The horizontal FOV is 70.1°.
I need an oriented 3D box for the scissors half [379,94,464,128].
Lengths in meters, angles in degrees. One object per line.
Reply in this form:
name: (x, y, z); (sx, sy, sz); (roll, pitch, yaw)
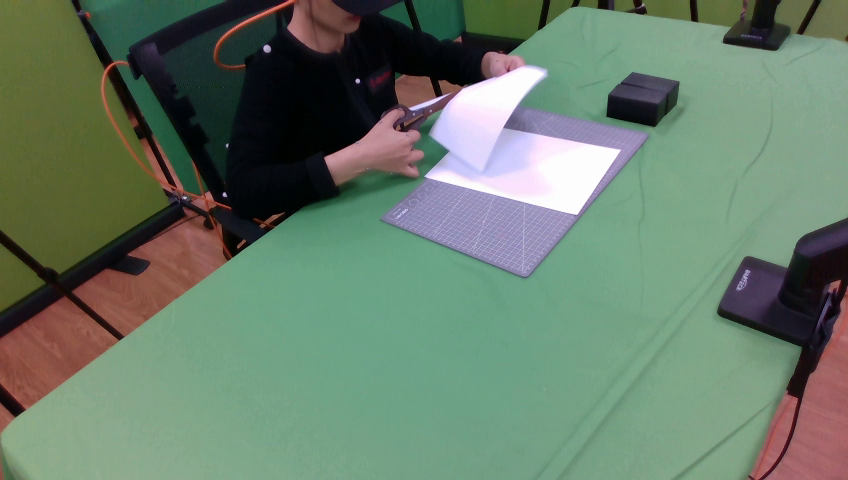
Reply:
scissors half: (-0.003, -0.249, 1.132); (0.176, 0.040, 0.012); (-19, 29, -17)

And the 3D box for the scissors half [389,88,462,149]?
scissors half: (0.006, -0.231, 1.142); (0.175, 0.040, 0.012); (-43, 28, -3)
